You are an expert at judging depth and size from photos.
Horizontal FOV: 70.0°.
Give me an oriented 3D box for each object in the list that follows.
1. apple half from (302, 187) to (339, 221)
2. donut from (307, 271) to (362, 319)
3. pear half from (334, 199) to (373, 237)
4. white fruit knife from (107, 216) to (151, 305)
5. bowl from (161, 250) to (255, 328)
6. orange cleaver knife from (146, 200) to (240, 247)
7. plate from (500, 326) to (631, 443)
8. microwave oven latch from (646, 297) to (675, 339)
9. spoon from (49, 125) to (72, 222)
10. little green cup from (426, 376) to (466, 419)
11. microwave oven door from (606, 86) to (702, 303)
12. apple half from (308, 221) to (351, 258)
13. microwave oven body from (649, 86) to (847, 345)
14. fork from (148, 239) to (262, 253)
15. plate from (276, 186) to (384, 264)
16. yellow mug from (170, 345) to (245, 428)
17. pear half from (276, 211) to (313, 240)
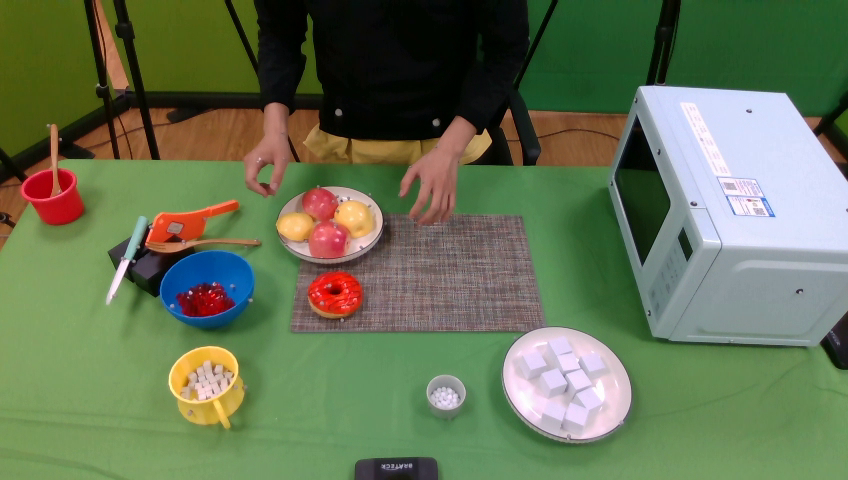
[{"bbox_3d":[-0.204,-0.077,1.216,0.081,0.033,0.081,19,46,-21],"label":"apple half"},{"bbox_3d":[-0.157,0.097,1.073,0.099,0.048,0.098,4,45,-4],"label":"donut"},{"bbox_3d":[-0.147,-0.060,1.210,0.076,0.056,0.109,-16,45,-25],"label":"pear half"},{"bbox_3d":[-0.518,0.032,1.066,0.027,0.016,0.206,-18,45,19],"label":"white fruit knife"},{"bbox_3d":[-0.362,0.097,1.040,0.151,0.077,0.150,2,45,-2],"label":"bowl"},{"bbox_3d":[-0.435,-0.033,1.157,0.012,0.077,0.211,31,26,18],"label":"orange cleaver knife"},{"bbox_3d":[0.224,0.233,0.978,0.208,0.039,0.206,2,46,-2],"label":"plate"},{"bbox_3d":[0.412,0.134,1.061,0.030,0.029,0.078,4,45,1],"label":"microwave oven latch"},{"bbox_3d":[-0.717,-0.131,1.189,0.041,0.021,0.193,-3,90,-7],"label":"spoon"},{"bbox_3d":[0.033,0.248,0.950,0.061,0.039,0.061,2,46,-2],"label":"little green cup"},{"bbox_3d":[0.423,-0.094,1.140,0.039,0.245,0.353,2,46,-1],"label":"microwave oven door"},{"bbox_3d":[-0.180,-0.005,1.150,0.074,0.053,0.080,14,43,9],"label":"apple half"},{"bbox_3d":[0.567,-0.053,1.118,0.326,0.261,0.439,2,45,-1],"label":"microwave oven body"},{"bbox_3d":[-0.398,0.008,1.117,0.208,0.019,0.028,-5,35,-37],"label":"fork"},{"bbox_3d":[-0.184,-0.027,1.195,0.209,0.038,0.208,2,46,-2],"label":"plate"},{"bbox_3d":[-0.322,0.230,0.922,0.100,0.064,0.130,-24,53,-25],"label":"yellow mug"},{"bbox_3d":[-0.244,-0.036,1.180,0.070,0.031,0.088,42,40,0],"label":"pear half"}]
